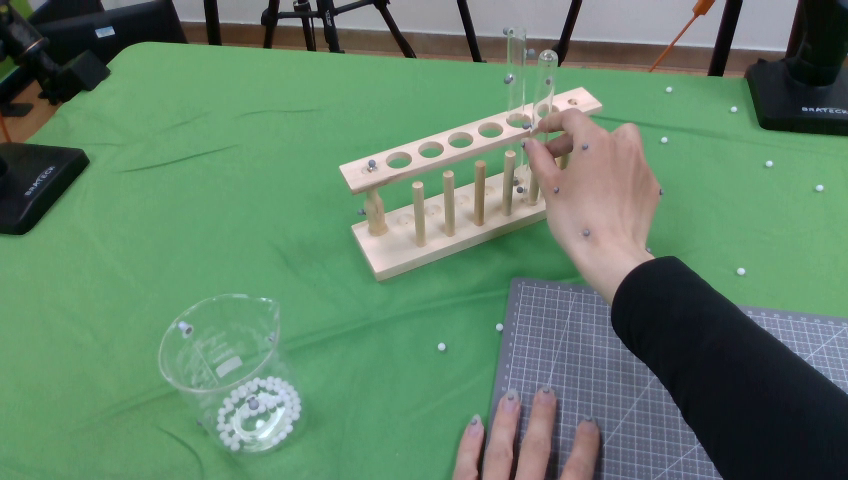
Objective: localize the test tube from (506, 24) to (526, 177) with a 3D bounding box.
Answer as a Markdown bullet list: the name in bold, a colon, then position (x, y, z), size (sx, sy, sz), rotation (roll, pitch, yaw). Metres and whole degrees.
- **test tube**: position (0.080, -0.116, 0.536), size (0.017, 0.152, 0.017), rotation (-4, 44, 4)

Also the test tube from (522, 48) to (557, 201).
- **test tube**: position (0.096, -0.092, 0.512), size (0.017, 0.152, 0.017), rotation (-1, 47, 2)

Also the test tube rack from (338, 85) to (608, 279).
- **test tube rack**: position (0.053, -0.056, 0.549), size (0.243, 0.086, 0.066), rotation (-20, 49, -14)

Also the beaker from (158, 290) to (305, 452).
- **beaker**: position (-0.123, 0.092, 0.417), size (0.073, 0.101, 0.084), rotation (29, 55, 27)
